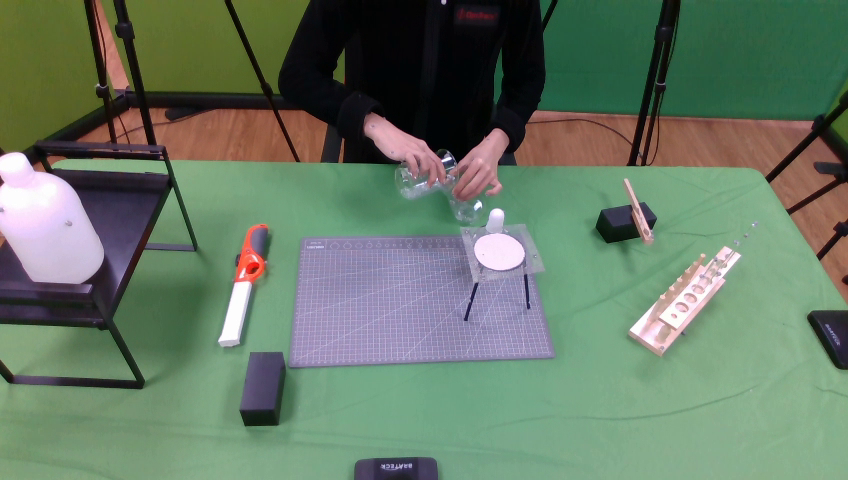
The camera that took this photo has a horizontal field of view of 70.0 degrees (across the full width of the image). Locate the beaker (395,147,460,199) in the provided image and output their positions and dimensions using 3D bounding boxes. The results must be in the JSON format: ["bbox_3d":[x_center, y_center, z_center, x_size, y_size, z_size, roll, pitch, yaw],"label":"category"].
[{"bbox_3d":[0.003,-0.119,1.112,0.100,0.084,0.073,-22,52,-28],"label":"beaker"}]

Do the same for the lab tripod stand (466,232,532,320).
[{"bbox_3d":[0.125,0.059,1.065,0.148,0.132,0.147,1,45,0],"label":"lab tripod stand"}]

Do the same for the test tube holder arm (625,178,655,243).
[{"bbox_3d":[0.433,-0.062,1.220,0.013,0.015,0.177,1,47,-3],"label":"test tube holder arm"}]

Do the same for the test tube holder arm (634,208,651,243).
[{"bbox_3d":[0.428,-0.030,1.189,0.010,0.015,0.087,1,47,-2],"label":"test tube holder arm"}]

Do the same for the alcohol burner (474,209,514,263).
[{"bbox_3d":[0.134,-0.013,1.150,0.078,0.120,0.077,0,47,0],"label":"alcohol burner"}]

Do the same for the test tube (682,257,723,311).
[{"bbox_3d":[0.475,0.080,1.037,0.017,0.151,0.017,1,50,-1],"label":"test tube"}]

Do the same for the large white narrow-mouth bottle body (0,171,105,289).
[{"bbox_3d":[-0.513,-0.029,0.818,0.102,0.195,0.101,2,46,-2],"label":"large white narrow-mouth bottle body"}]

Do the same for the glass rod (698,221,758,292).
[{"bbox_3d":[0.527,0.035,1.059,0.008,0.200,0.008,5,49,-6],"label":"glass rod"}]

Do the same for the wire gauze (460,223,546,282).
[{"bbox_3d":[0.131,0.016,1.015,0.121,0.011,0.124,-5,45,-8],"label":"wire gauze"}]

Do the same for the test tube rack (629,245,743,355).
[{"bbox_3d":[0.474,0.095,1.091,0.242,0.085,0.066,-34,56,-31],"label":"test tube rack"}]

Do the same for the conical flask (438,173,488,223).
[{"bbox_3d":[0.071,-0.088,1.204,0.075,0.122,0.075,-13,61,26],"label":"conical flask"}]

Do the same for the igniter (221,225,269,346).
[{"bbox_3d":[-0.323,0.072,1.100,0.057,0.025,0.274,-6,46,5],"label":"igniter"}]

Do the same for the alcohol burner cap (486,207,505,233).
[{"bbox_3d":[0.135,-0.039,1.125,0.034,0.048,0.033,4,42,-4],"label":"alcohol burner cap"}]

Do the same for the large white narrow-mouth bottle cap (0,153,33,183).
[{"bbox_3d":[-0.510,-0.089,0.754,0.038,0.024,0.037,2,46,-2],"label":"large white narrow-mouth bottle cap"}]
